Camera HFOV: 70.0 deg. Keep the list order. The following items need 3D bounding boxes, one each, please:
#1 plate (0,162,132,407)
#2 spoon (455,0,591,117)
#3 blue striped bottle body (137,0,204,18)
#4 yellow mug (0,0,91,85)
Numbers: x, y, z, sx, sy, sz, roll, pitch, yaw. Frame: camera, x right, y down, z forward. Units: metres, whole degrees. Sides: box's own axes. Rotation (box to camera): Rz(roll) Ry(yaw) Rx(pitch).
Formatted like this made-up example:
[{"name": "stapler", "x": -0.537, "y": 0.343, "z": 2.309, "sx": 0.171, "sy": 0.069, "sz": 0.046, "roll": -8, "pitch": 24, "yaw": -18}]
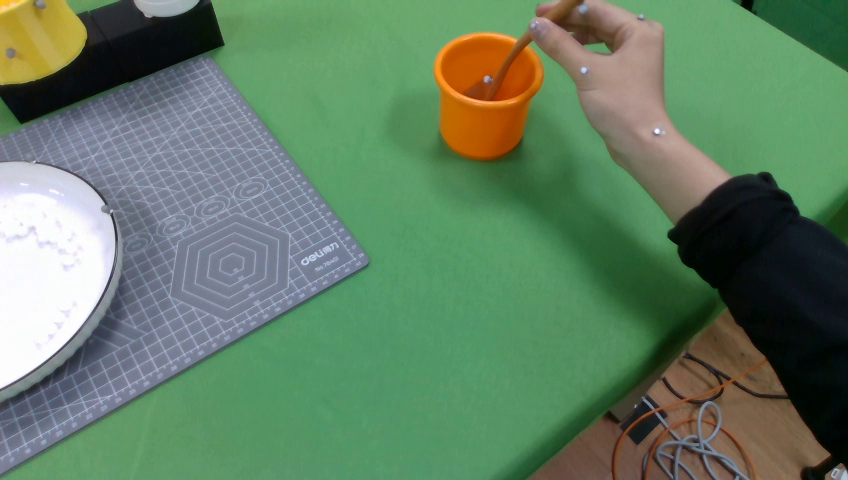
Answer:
[{"name": "plate", "x": -0.316, "y": 0.033, "z": 0.438, "sx": 0.208, "sy": 0.039, "sz": 0.205, "roll": 1, "pitch": 56, "yaw": -1}, {"name": "spoon", "x": 0.080, "y": -0.152, "z": 0.487, "sx": 0.022, "sy": 0.194, "sz": 0.041, "roll": 26, "pitch": 62, "yaw": -17}, {"name": "blue striped bottle body", "x": -0.239, "y": -0.263, "z": 0.528, "sx": 0.063, "sy": 0.122, "sz": 0.062, "roll": 0, "pitch": 57, "yaw": 0}, {"name": "yellow mug", "x": -0.363, "y": -0.193, "z": 0.512, "sx": 0.130, "sy": 0.064, "sz": 0.099, "roll": 13, "pitch": 57, "yaw": 9}]
